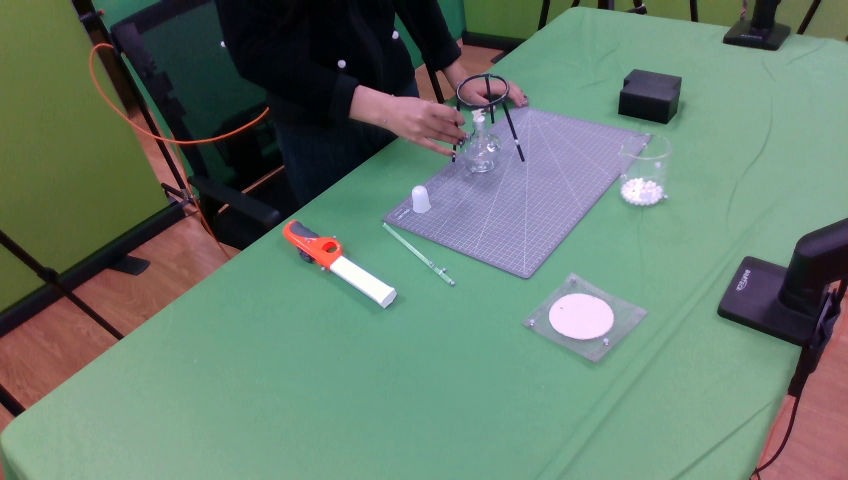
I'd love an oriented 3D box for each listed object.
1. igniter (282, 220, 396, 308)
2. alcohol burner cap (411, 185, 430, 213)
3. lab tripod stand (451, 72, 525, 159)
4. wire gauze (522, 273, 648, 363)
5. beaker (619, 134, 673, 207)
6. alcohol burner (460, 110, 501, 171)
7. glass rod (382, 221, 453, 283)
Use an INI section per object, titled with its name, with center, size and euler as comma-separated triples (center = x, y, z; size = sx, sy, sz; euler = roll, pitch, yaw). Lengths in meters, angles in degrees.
[igniter]
center = -0.146, 0.032, 0.966
size = 0.274, 0.025, 0.057
euler = 30, 64, 37
[alcohol burner cap]
center = -0.008, -0.074, 1.050
size = 0.034, 0.048, 0.033
euler = -5, 40, 4
[lab tripod stand]
center = 0.110, -0.211, 1.051
size = 0.148, 0.132, 0.147
euler = -5, 49, 6
[wire gauze]
center = 0.220, 0.105, 0.828
size = 0.125, 0.011, 0.120
euler = -35, 47, -30
[beaker]
center = 0.356, -0.111, 0.986
size = 0.084, 0.101, 0.073
euler = -10, 40, 1
[alcohol burner]
center = 0.103, -0.186, 1.105
size = 0.078, 0.119, 0.077
euler = -4, 42, 4
[glass rod]
center = -0.014, 0.016, 0.976
size = 0.008, 0.008, 0.198
euler = -29, 44, -22
